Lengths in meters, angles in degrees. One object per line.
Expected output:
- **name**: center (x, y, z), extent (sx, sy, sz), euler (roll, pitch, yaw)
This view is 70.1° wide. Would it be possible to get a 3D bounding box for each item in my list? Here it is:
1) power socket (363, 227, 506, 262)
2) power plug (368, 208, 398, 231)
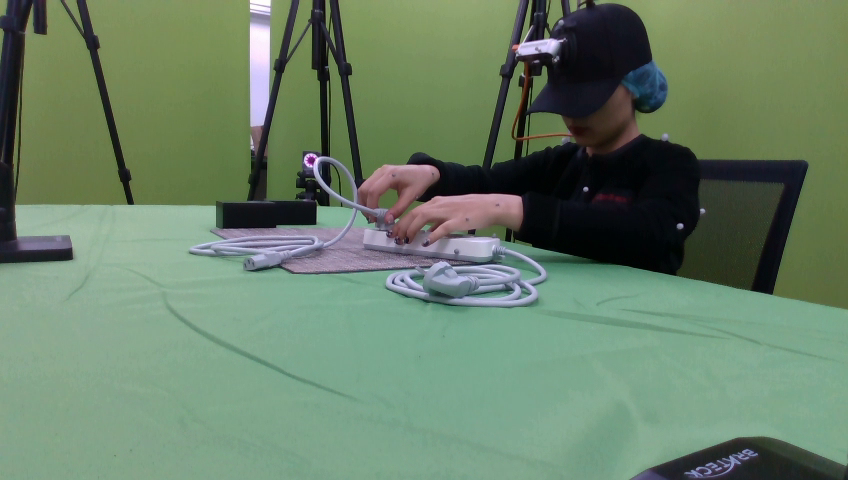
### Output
- **power socket**: center (0.009, 0.004, 0.909), extent (0.226, 0.032, 0.072), euler (7, 9, 28)
- **power plug**: center (-0.069, -0.023, 0.915), extent (0.035, 0.052, 0.073), euler (8, 8, 40)
